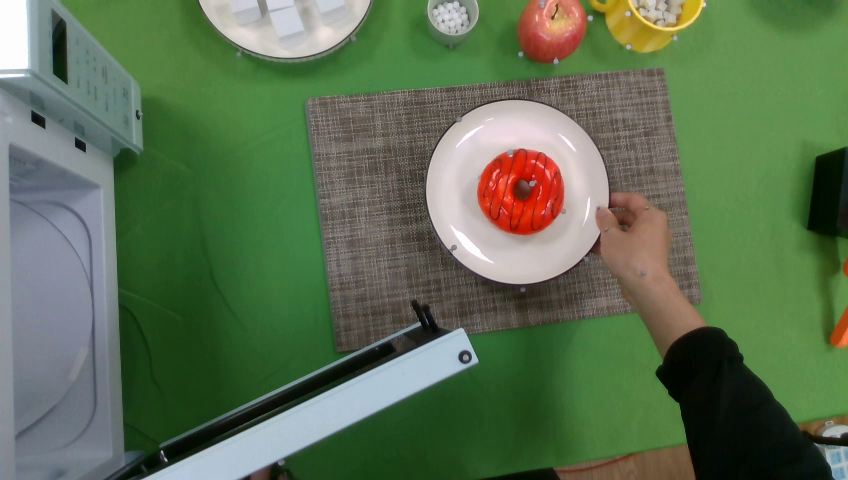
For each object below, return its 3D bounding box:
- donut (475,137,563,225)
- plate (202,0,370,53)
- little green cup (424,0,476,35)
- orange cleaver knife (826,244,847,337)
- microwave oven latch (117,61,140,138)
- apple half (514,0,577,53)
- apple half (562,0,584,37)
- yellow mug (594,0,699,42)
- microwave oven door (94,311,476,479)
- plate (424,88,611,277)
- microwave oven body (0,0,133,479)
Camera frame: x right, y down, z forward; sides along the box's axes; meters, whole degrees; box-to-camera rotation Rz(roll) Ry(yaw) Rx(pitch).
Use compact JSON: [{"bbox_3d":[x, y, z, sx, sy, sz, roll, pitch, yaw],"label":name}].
[{"bbox_3d":[0.105,-0.064,0.667,0.099,0.048,0.099,0,89,-4],"label":"donut"},{"bbox_3d":[-0.160,-0.316,0.708,0.208,0.039,0.207,1,85,-6],"label":"plate"},{"bbox_3d":[0.030,-0.279,0.727,0.061,0.038,0.061,1,85,-6],"label":"little green cup"},{"bbox_3d":[0.539,0.019,0.736,0.012,0.076,0.212,12,116,-3],"label":"orange cleaver knife"},{"bbox_3d":[-0.327,-0.152,0.658,0.030,0.029,0.079,-3,86,-7],"label":"microwave oven latch"},{"bbox_3d":[0.136,-0.258,0.721,0.053,0.074,0.081,-34,93,-4],"label":"apple half"},{"bbox_3d":[0.169,-0.280,0.725,0.033,0.081,0.081,-34,89,-3],"label":"apple half"},{"bbox_3d":[0.263,-0.305,0.741,0.131,0.064,0.099,4,84,-5],"label":"yellow mug"},{"bbox_3d":[-0.135,0.157,0.554,0.356,0.244,0.039,-25,87,-8],"label":"microwave oven door"},{"bbox_3d":[0.102,-0.063,0.678,0.209,0.038,0.209,0,88,-4],"label":"plate"},{"bbox_3d":[-0.450,0.026,0.533,0.326,0.260,0.441,-4,87,-7],"label":"microwave oven body"}]
